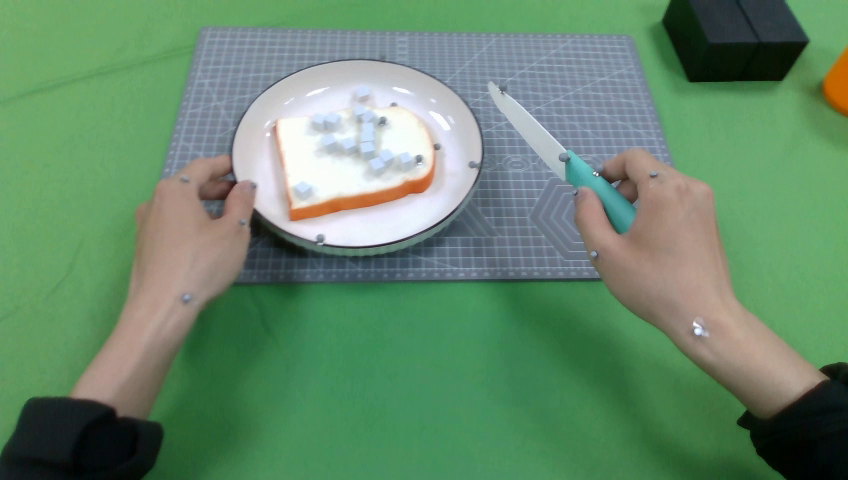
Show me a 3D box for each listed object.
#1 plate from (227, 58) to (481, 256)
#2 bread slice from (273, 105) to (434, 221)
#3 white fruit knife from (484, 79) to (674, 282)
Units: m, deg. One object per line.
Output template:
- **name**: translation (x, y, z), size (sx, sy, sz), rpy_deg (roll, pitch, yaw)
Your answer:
- **plate**: translation (-0.057, -0.071, 0.513), size (0.209, 0.038, 0.207), rpy_deg (2, 57, -2)
- **bread slice**: translation (-0.059, -0.075, 0.518), size (0.132, 0.019, 0.104), rpy_deg (-14, 59, -11)
- **white fruit knife**: translation (0.103, -0.053, 0.435), size (0.016, 0.027, 0.205), rpy_deg (-21, 59, -30)
